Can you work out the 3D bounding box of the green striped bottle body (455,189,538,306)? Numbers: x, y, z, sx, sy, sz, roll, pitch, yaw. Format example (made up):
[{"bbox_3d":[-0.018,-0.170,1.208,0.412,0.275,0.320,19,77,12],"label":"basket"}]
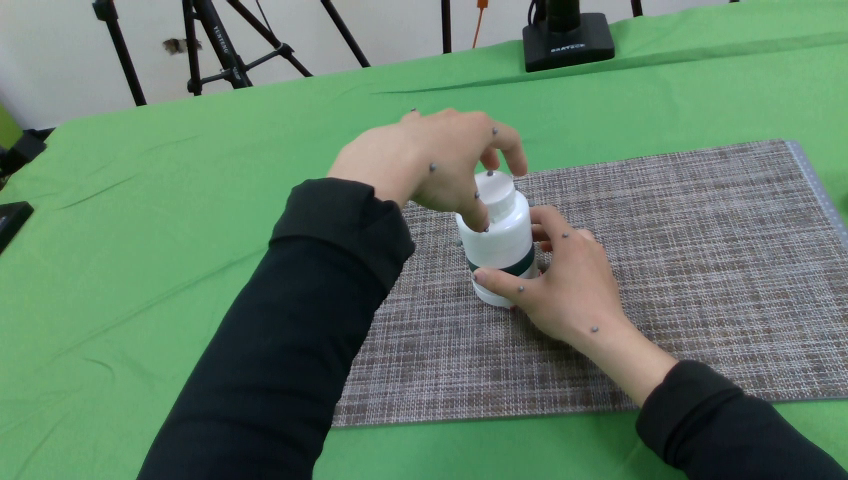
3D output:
[{"bbox_3d":[0.064,-0.001,0.535,0.063,0.120,0.062,-9,44,9],"label":"green striped bottle body"}]

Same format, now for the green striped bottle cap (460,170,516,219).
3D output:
[{"bbox_3d":[0.053,-0.038,0.498,0.044,0.020,0.044,-11,41,10],"label":"green striped bottle cap"}]
